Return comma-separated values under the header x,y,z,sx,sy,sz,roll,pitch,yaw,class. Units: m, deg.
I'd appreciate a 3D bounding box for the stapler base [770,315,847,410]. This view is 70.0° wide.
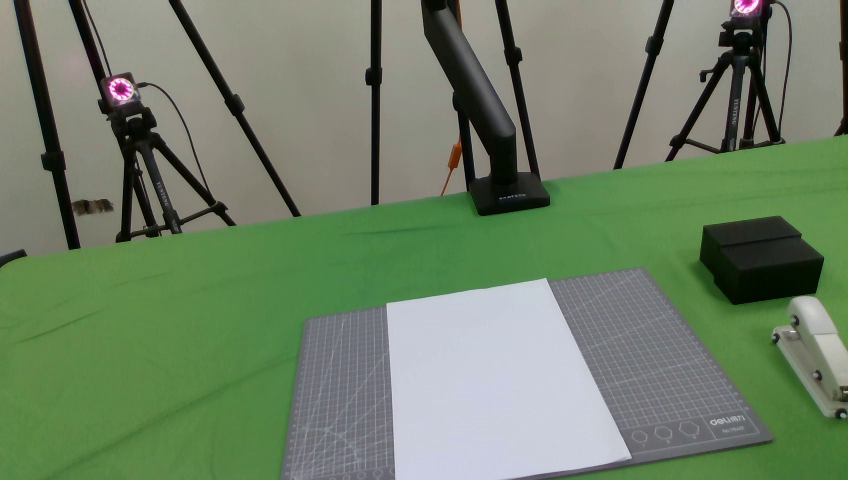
x,y,z,sx,sy,sz,roll,pitch,yaw,class
0.392,0.113,0.605,0.041,0.024,0.129,-6,32,7,stapler base

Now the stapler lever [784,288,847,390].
x,y,z,sx,sy,sz,roll,pitch,yaw,class
0.389,0.092,0.590,0.027,0.040,0.117,-6,32,7,stapler lever
